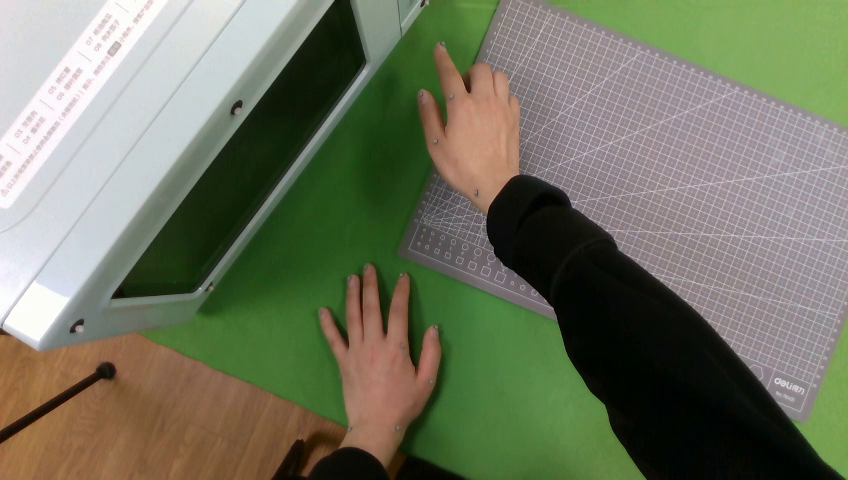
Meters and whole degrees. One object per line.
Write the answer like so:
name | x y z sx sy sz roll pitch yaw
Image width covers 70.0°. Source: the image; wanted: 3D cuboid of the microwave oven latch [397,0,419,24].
microwave oven latch | -0.009 -0.253 0.592 0.030 0.029 0.079 39 89 0

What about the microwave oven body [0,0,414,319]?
microwave oven body | -0.233 -0.202 0.492 0.326 0.260 0.441 36 89 0

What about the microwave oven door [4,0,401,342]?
microwave oven door | -0.141 -0.082 0.484 0.039 0.244 0.355 36 88 1
